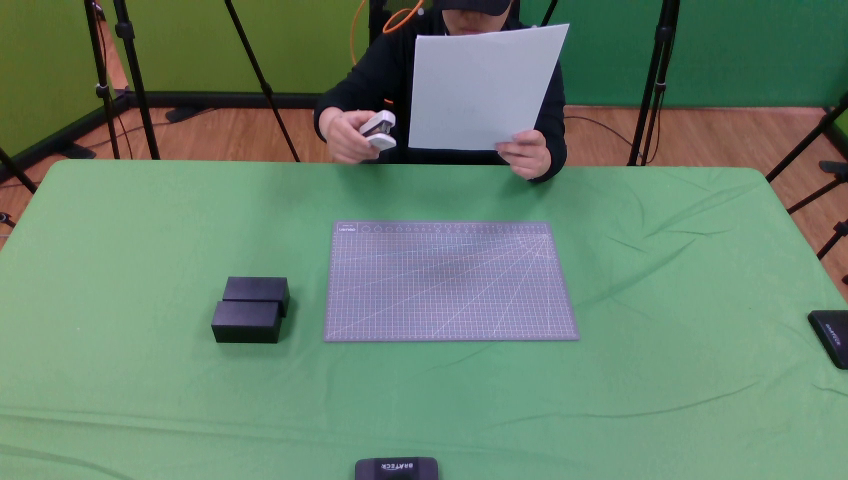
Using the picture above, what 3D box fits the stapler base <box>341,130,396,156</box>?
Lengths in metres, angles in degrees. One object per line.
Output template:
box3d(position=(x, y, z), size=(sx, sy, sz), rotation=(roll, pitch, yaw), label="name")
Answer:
box3d(position=(-0.095, -0.175, 1.062), size=(0.041, 0.130, 0.024), rotation=(26, 69, -33), label="stapler base")

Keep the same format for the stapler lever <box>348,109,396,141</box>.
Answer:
box3d(position=(-0.091, -0.198, 1.070), size=(0.027, 0.118, 0.040), rotation=(26, 70, -33), label="stapler lever")
